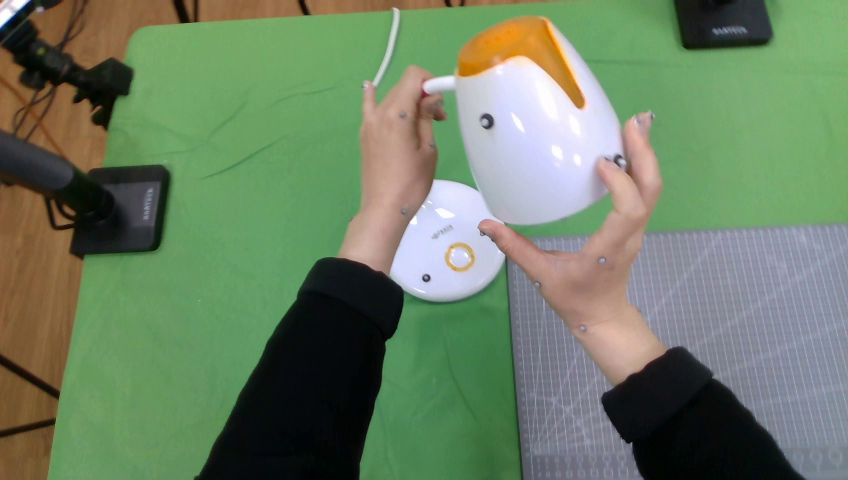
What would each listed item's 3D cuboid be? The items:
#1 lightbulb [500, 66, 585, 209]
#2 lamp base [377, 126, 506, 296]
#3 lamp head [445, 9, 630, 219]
[{"bbox_3d":[0.079,-0.071,0.429,0.059,0.109,0.059,-17,33,11],"label":"lightbulb"},{"bbox_3d":[0.007,-0.042,0.688,0.160,0.181,0.178,-42,70,-11],"label":"lamp base"},{"bbox_3d":[0.068,-0.093,0.420,0.112,0.124,0.111,-26,29,16],"label":"lamp head"}]
